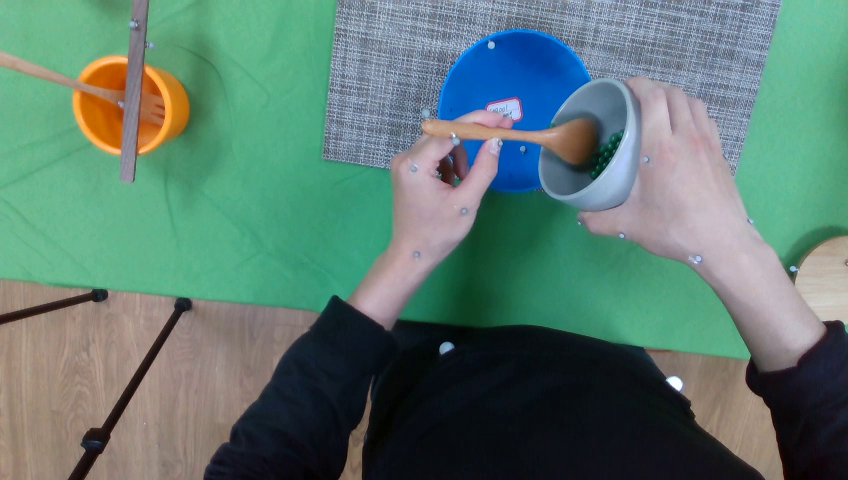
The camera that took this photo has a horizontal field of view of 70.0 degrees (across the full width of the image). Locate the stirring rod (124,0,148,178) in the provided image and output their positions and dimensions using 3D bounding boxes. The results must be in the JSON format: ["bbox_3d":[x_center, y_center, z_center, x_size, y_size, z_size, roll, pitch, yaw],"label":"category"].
[{"bbox_3d":[-0.263,-0.144,0.552,0.014,0.006,0.177,9,105,-3],"label":"stirring rod"}]

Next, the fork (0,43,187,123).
[{"bbox_3d":[-0.317,-0.148,0.551,0.209,0.018,0.028,14,112,-50],"label":"fork"}]

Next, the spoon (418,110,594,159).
[{"bbox_3d":[0.074,-0.090,0.493,0.195,0.021,0.042,-2,111,-32],"label":"spoon"}]

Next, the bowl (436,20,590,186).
[{"bbox_3d":[0.085,-0.134,0.603,0.151,0.076,0.152,-1,106,-1],"label":"bowl"}]

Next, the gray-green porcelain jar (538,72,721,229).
[{"bbox_3d":[0.181,-0.071,0.525,0.127,0.105,0.106,18,104,-27],"label":"gray-green porcelain jar"}]

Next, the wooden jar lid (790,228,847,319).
[{"bbox_3d":[0.473,0.038,0.698,0.108,0.020,0.109,0,106,-1],"label":"wooden jar lid"}]
